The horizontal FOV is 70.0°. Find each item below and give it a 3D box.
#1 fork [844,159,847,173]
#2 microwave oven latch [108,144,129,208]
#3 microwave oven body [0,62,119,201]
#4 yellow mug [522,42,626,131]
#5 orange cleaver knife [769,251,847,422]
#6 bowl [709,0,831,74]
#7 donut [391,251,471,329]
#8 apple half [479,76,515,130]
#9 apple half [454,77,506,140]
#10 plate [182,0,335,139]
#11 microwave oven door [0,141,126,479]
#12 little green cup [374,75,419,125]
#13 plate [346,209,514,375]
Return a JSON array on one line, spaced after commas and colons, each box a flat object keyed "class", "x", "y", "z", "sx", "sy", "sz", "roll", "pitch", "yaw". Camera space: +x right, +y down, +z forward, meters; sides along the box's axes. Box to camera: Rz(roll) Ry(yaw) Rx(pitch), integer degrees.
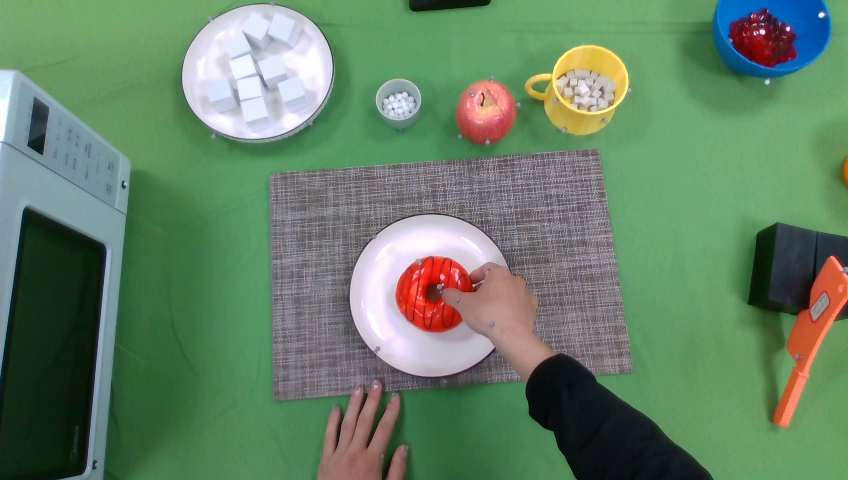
[{"class": "fork", "x": 0.642, "y": -0.108, "z": 0.747, "sx": 0.206, "sy": 0.019, "sz": 0.028, "roll": -9, "pitch": 68, "yaw": 44}, {"class": "microwave oven latch", "x": -0.404, "y": -0.083, "z": 0.787, "sx": 0.030, "sy": 0.029, "sz": 0.079, "roll": 0, "pitch": 77, "yaw": 0}, {"class": "microwave oven body", "x": -0.549, "y": 0.070, "z": 0.653, "sx": 0.326, "sy": 0.261, "sz": 0.439, "roll": -2, "pitch": 77, "yaw": 0}, {"class": "yellow mug", "x": 0.198, "y": -0.207, "z": 0.817, "sx": 0.131, "sy": 0.064, "sz": 0.099, "roll": 6, "pitch": 77, "yaw": 3}, {"class": "orange cleaver knife", "x": 0.455, "y": 0.117, "z": 0.727, "sx": 0.012, "sy": 0.077, "sz": 0.212, "roll": 14, "pitch": 109, "yaw": 6}, {"class": "bowl", "x": 0.455, "y": -0.285, "z": 0.827, "sx": 0.151, "sy": 0.077, "sz": 0.150, "roll": 0, "pitch": 77, "yaw": 1}, {"class": "donut", "x": 0.009, "y": 0.063, "z": 0.753, "sx": 0.099, "sy": 0.048, "sz": 0.098, "roll": 0, "pitch": 82, "yaw": 3}, {"class": "apple half", "x": 0.101, "y": -0.187, "z": 0.809, "sx": 0.033, "sy": 0.081, "sz": 0.081, "roll": -32, "pitch": 78, "yaw": -2}, {"class": "apple half", "x": 0.067, "y": -0.167, "z": 0.806, "sx": 0.053, "sy": 0.075, "sz": 0.080, "roll": -31, "pitch": 82, "yaw": -2}, {"class": "plate", "x": -0.225, "y": -0.233, "z": 0.840, "sx": 0.208, "sy": 0.039, "sz": 0.206, "roll": 0, "pitch": 76, "yaw": 0}, {"class": "microwave oven door", "x": -0.402, "y": 0.105, "z": 0.638, "sx": 0.039, "sy": 0.245, "sz": 0.354, "roll": -2, "pitch": 76, "yaw": 0}, {"class": "little green cup", "x": -0.036, "y": -0.189, "z": 0.829, "sx": 0.061, "sy": 0.039, "sz": 0.061, "roll": 0, "pitch": 76, "yaw": 1}, {"class": "plate", "x": 0.008, "y": 0.064, "z": 0.765, "sx": 0.209, "sy": 0.038, "sz": 0.208, "roll": 0, "pitch": 77, "yaw": 1}]
